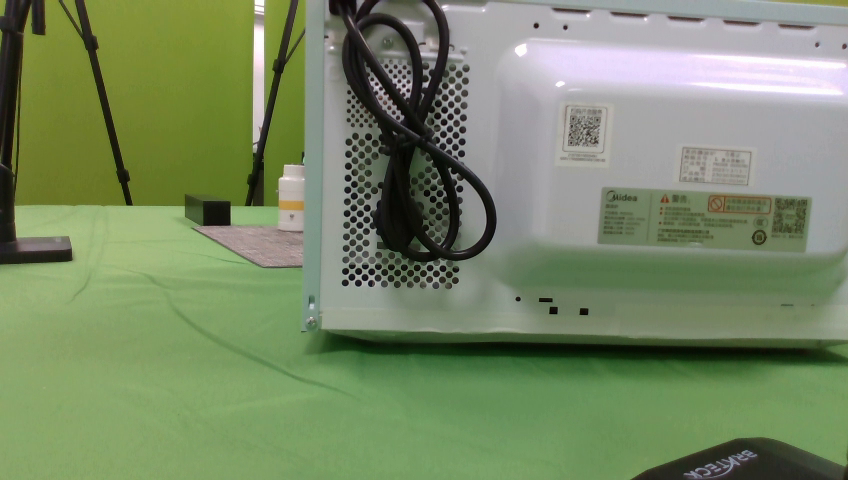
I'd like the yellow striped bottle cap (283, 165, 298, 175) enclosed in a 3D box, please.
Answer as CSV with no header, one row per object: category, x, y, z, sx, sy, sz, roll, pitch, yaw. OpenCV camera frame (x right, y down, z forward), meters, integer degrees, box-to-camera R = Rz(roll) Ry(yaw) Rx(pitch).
yellow striped bottle cap,-0.240,-0.129,1.124,0.044,0.018,0.044,4,8,0

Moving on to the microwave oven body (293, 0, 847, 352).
microwave oven body,0.122,-0.055,0.550,0.442,0.260,0.325,3,7,-5

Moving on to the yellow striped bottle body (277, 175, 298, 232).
yellow striped bottle body,-0.242,-0.078,1.130,0.063,0.120,0.063,2,8,0

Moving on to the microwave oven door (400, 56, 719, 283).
microwave oven door,0.155,-0.078,0.698,0.356,0.243,0.039,2,8,-5

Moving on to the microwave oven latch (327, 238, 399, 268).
microwave oven latch,-0.069,0.015,0.694,0.079,0.029,0.030,3,7,-3
